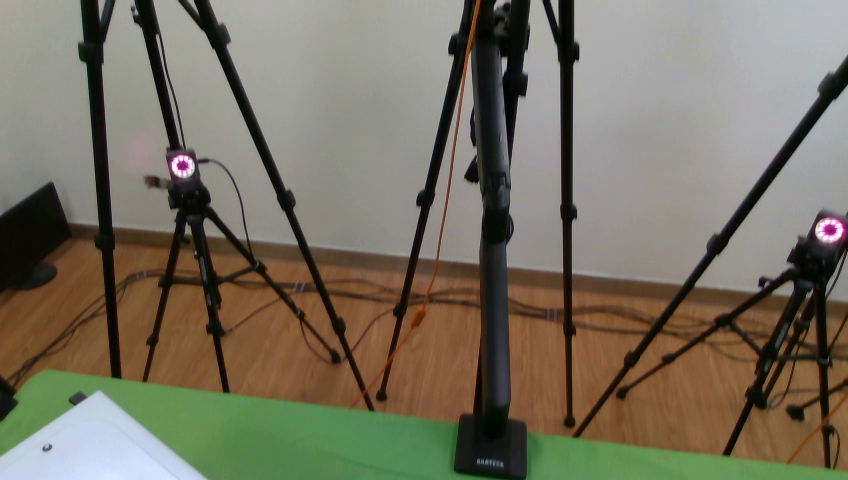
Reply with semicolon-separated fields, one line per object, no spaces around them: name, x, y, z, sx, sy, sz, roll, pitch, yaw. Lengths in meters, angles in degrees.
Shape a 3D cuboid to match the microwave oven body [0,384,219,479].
microwave oven body;-0.448;0.438;0.673;0.323;0.262;0.441;24;42;26
